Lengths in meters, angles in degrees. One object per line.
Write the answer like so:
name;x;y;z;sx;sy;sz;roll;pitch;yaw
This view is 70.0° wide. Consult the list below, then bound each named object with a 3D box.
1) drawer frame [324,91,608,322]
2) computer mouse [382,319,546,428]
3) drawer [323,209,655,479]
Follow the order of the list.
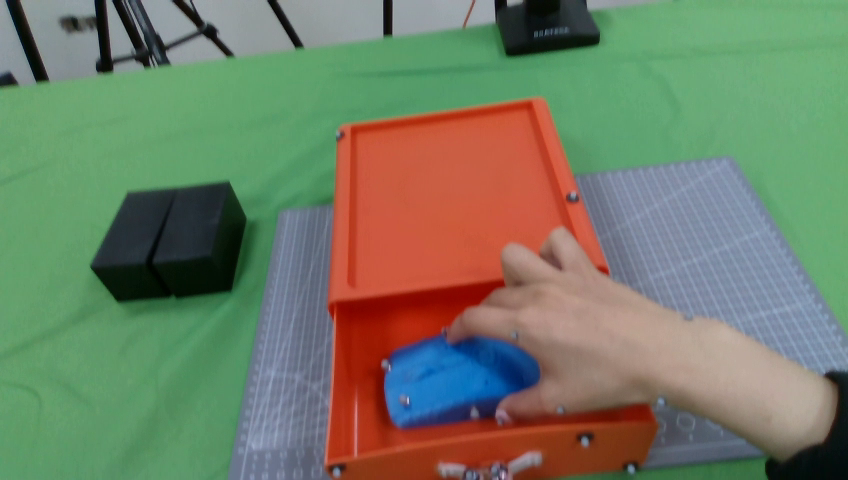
drawer frame;0.025;-0.021;0.512;0.202;0.083;0.211;-9;47;2
computer mouse;0.026;0.093;0.429;0.117;0.041;0.062;-11;51;6
drawer;0.033;0.064;0.437;0.194;0.074;0.209;-8;48;2
